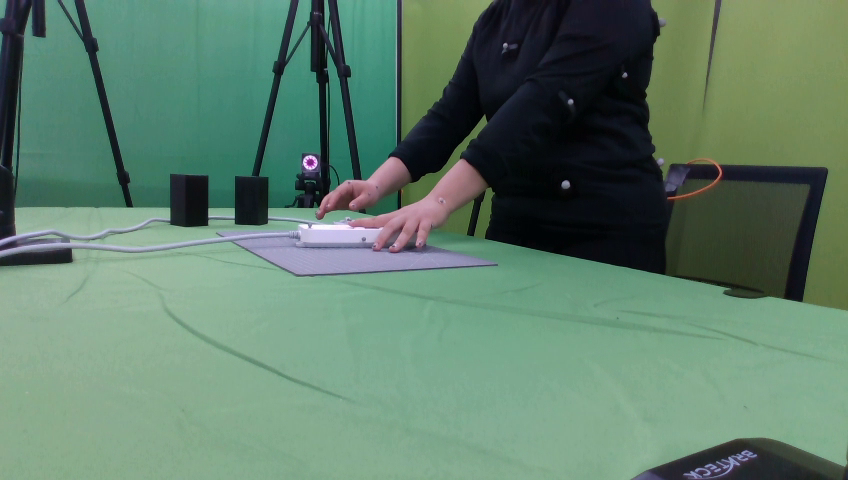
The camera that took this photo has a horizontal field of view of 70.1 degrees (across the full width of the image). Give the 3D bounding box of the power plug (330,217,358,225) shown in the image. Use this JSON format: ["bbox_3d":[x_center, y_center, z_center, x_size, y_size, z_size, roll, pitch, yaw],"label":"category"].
[{"bbox_3d":[-0.148,-0.030,1.127,0.053,0.035,0.072,-1,16,-15],"label":"power plug"}]

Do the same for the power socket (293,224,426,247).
[{"bbox_3d":[-0.103,-0.008,1.003,0.228,0.032,0.072,-1,7,-22],"label":"power socket"}]
